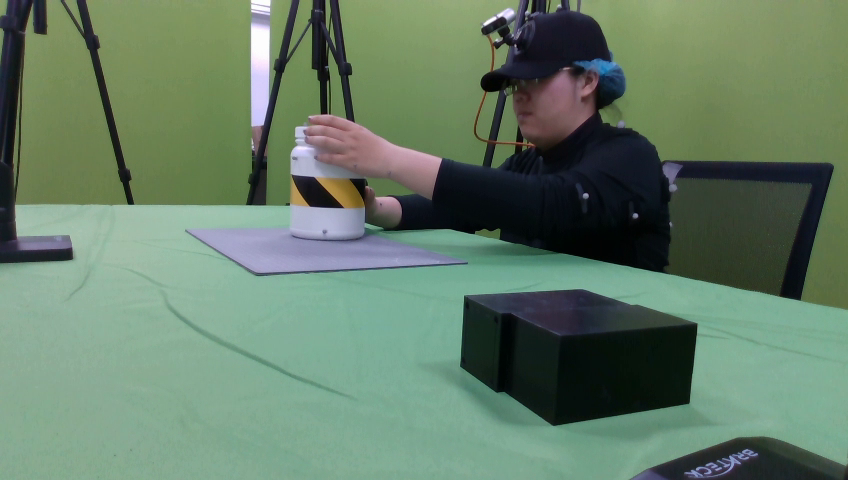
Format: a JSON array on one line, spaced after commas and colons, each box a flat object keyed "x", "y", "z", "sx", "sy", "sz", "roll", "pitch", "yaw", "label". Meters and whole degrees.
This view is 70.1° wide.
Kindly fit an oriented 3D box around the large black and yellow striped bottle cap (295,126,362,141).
[{"x": -0.164, "y": -0.183, "z": 1.040, "sx": 0.115, "sy": 0.019, "sz": 0.115, "roll": 3, "pitch": 6, "yaw": 0, "label": "large black and yellow striped bottle cap"}]

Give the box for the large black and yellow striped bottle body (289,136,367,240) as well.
[{"x": -0.167, "y": -0.097, "z": 1.053, "sx": 0.131, "sy": 0.184, "sz": 0.130, "roll": 3, "pitch": 7, "yaw": 0, "label": "large black and yellow striped bottle body"}]
